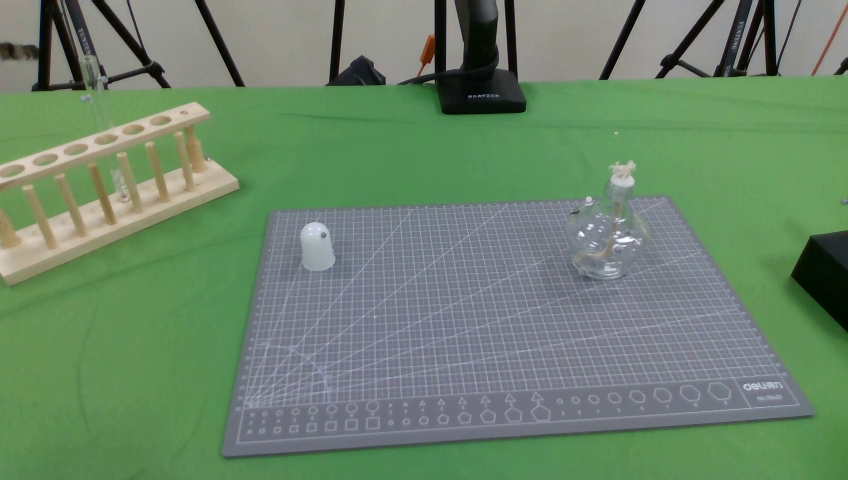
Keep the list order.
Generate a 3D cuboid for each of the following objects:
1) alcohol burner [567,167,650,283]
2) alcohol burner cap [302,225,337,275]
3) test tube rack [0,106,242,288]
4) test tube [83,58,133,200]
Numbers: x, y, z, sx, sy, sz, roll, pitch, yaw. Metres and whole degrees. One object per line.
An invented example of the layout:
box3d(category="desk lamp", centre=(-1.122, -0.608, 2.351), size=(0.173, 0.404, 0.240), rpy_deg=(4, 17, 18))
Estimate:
box3d(category="alcohol burner", centre=(0.176, -0.019, 0.565), size=(0.078, 0.120, 0.077), rpy_deg=(1, 41, -1))
box3d(category="alcohol burner cap", centre=(-0.102, 0.007, 0.585), size=(0.034, 0.048, 0.033), rpy_deg=(1, 39, 0))
box3d(category="test tube rack", centre=(-0.319, -0.053, 0.623), size=(0.242, 0.086, 0.066), rpy_deg=(-30, 48, -33))
box3d(category="test tube", centre=(-0.317, -0.107, 0.612), size=(0.017, 0.151, 0.017), rpy_deg=(3, 34, -1))
